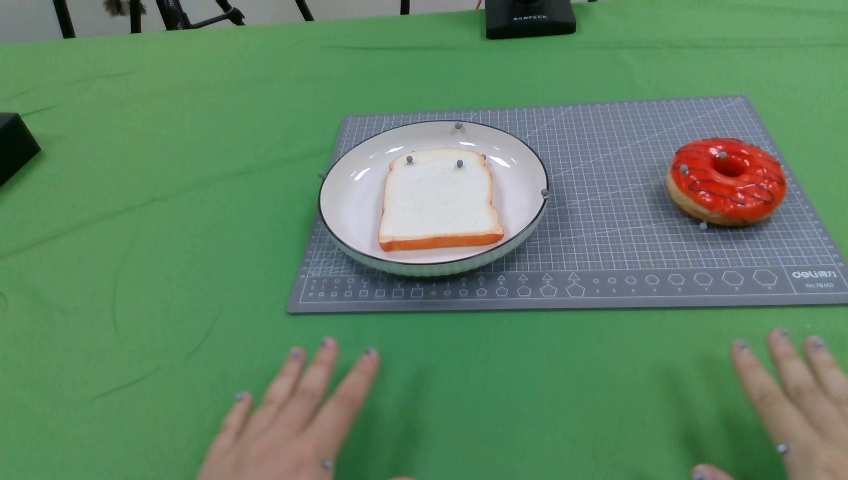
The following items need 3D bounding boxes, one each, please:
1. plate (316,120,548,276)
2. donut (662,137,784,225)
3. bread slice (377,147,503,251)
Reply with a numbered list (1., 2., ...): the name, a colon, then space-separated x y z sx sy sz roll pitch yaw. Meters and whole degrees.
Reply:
1. plate: 0.008 -0.038 0.556 0.209 0.038 0.207 -3 43 4
2. donut: 0.261 -0.051 0.532 0.099 0.049 0.098 -2 45 3
3. bread slice: 0.010 -0.041 0.560 0.107 0.018 0.133 -5 44 0
